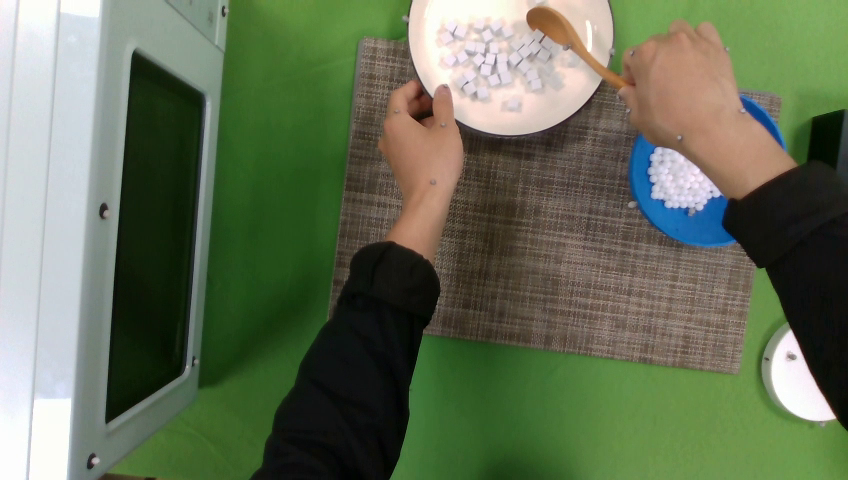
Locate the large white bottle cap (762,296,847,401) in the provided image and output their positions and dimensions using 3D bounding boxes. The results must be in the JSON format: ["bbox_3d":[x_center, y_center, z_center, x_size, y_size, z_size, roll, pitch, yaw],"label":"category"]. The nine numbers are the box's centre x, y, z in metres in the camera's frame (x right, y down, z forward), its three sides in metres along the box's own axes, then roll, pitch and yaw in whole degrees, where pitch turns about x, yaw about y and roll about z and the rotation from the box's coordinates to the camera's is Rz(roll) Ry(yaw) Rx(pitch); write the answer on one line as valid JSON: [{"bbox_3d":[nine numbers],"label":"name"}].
[{"bbox_3d":[0.429,0.118,0.660,0.115,0.018,0.115,0,94,-2],"label":"large white bottle cap"}]

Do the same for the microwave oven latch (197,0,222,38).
[{"bbox_3d":[-0.213,-0.241,0.590,0.030,0.029,0.079,5,94,-2],"label":"microwave oven latch"}]

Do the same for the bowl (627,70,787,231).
[{"bbox_3d":[0.268,-0.086,0.608,0.151,0.076,0.151,0,94,-1],"label":"bowl"}]

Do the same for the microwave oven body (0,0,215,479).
[{"bbox_3d":[-0.374,-0.072,0.501,0.326,0.259,0.442,5,94,-2],"label":"microwave oven body"}]

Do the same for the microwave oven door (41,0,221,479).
[{"bbox_3d":[-0.231,-0.018,0.504,0.039,0.243,0.356,4,93,-1],"label":"microwave oven door"}]

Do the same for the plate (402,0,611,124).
[{"bbox_3d":[0.082,-0.219,0.615,0.209,0.038,0.209,0,91,-2],"label":"plate"}]

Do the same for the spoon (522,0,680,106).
[{"bbox_3d":[0.163,-0.181,0.575,0.021,0.042,0.192,-35,65,-9],"label":"spoon"}]
